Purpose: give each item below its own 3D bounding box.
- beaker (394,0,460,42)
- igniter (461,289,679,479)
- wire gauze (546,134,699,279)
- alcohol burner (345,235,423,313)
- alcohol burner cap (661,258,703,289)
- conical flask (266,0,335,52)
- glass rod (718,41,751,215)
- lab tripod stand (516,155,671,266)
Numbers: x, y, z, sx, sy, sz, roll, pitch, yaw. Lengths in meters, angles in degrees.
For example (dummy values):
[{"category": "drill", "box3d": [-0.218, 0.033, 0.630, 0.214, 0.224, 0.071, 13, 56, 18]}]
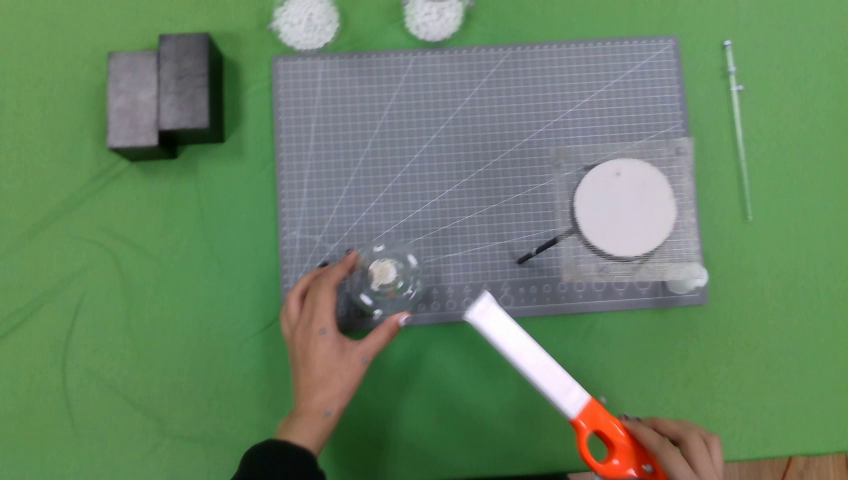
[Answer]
[{"category": "beaker", "box3d": [0.006, -0.256, 0.626, 0.084, 0.100, 0.074, 32, 84, 1]}, {"category": "igniter", "box3d": [0.140, 0.152, 0.532, 0.276, 0.025, 0.057, 45, 70, 2]}, {"category": "wire gauze", "box3d": [0.170, -0.028, 0.518, 0.125, 0.011, 0.121, -3, 85, -1]}, {"category": "alcohol burner", "box3d": [-0.039, 0.032, 0.582, 0.078, 0.119, 0.077, 0, 85, -2]}, {"category": "alcohol burner cap", "box3d": [0.271, 0.033, 0.628, 0.034, 0.048, 0.034, 0, 83, -2]}, {"category": "conical flask", "box3d": [-0.133, -0.247, 0.609, 0.075, 0.122, 0.075, 0, 83, -2]}, {"category": "glass rod", "box3d": [0.342, -0.125, 0.667, 0.008, 0.008, 0.199, -5, 83, -3]}, {"category": "lab tripod stand", "box3d": [0.164, -0.019, 0.585, 0.148, 0.131, 0.148, 0, 85, -1]}]
